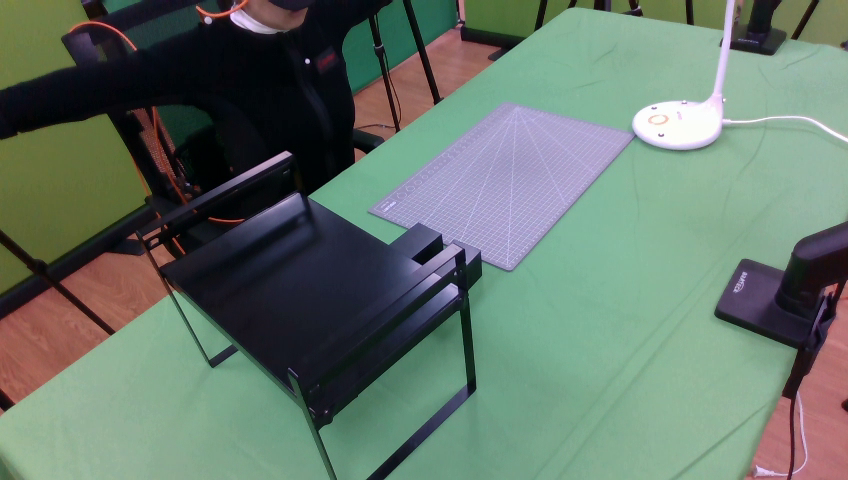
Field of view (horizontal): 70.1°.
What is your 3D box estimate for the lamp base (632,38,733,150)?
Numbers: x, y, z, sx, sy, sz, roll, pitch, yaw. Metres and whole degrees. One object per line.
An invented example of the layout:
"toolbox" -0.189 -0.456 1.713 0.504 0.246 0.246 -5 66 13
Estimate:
"lamp base" 0.486 -0.280 1.108 0.179 0.181 0.159 -5 41 -1
